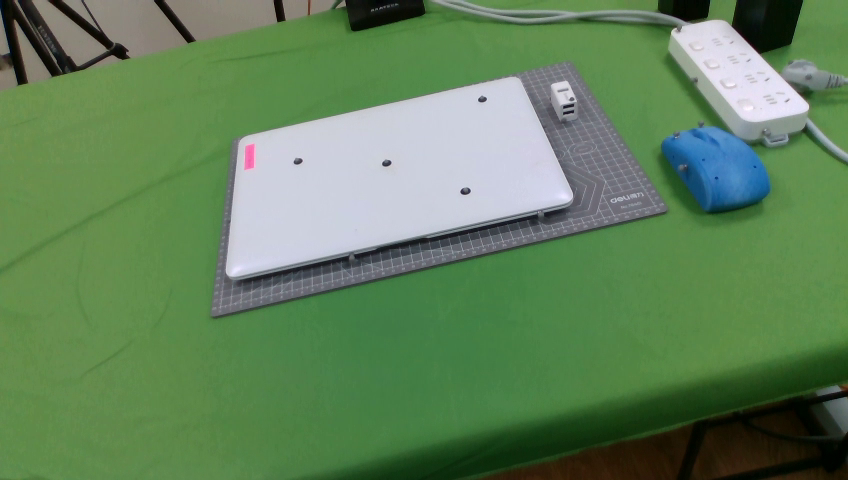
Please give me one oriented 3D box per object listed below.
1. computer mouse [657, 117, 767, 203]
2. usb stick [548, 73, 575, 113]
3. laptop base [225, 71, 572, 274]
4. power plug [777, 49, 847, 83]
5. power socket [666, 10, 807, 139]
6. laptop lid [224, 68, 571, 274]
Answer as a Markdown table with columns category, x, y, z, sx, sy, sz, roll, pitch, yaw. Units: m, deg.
| category | x | y | z | sx | sy | sz | roll | pitch | yaw |
| --- | --- | --- | --- | --- | --- | --- | --- | --- | --- |
| computer mouse | 0.278 | -0.086 | 0.591 | 0.063 | 0.041 | 0.116 | -14 | 41 | 3 |
| usb stick | 0.158 | -0.175 | 0.707 | 0.021 | 0.027 | 0.058 | -13 | 44 | 4 |
| laptop base | -0.041 | -0.083 | 0.674 | 0.354 | 0.023 | 0.233 | -13 | 49 | 1 |
| power plug | 0.424 | -0.184 | 0.660 | 0.072 | 0.035 | 0.052 | 15 | 27 | -1 |
| power socket | 0.343 | -0.194 | 0.682 | 0.072 | 0.033 | 0.224 | -11 | 46 | 3 |
| laptop lid | -0.042 | -0.089 | 0.664 | 0.357 | 0.013 | 0.239 | -12 | 48 | 2 |
